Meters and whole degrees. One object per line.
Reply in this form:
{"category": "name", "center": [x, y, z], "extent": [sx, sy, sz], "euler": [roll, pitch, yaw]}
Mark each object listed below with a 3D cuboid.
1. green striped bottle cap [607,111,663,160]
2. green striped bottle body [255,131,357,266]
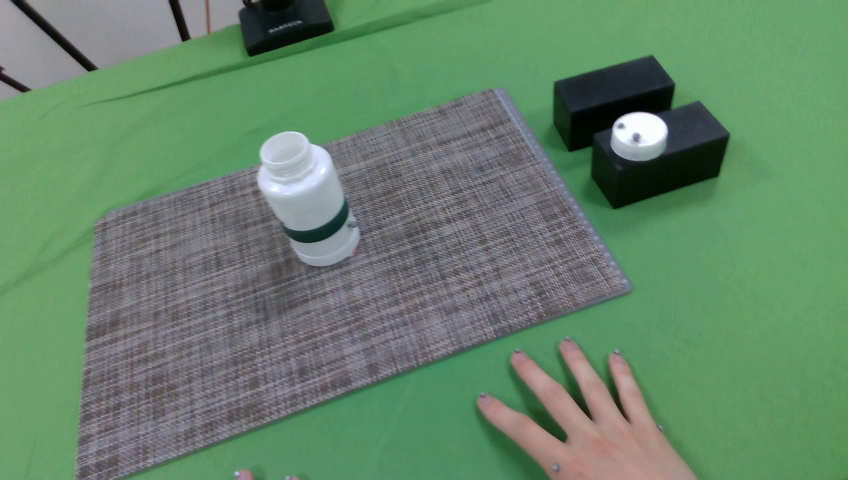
{"category": "green striped bottle cap", "center": [0.179, -0.089, 0.513], "extent": [0.044, 0.020, 0.044], "euler": [-4, 50, 6]}
{"category": "green striped bottle body", "center": [-0.102, -0.036, 0.522], "extent": [0.063, 0.120, 0.062], "euler": [-6, 51, 8]}
